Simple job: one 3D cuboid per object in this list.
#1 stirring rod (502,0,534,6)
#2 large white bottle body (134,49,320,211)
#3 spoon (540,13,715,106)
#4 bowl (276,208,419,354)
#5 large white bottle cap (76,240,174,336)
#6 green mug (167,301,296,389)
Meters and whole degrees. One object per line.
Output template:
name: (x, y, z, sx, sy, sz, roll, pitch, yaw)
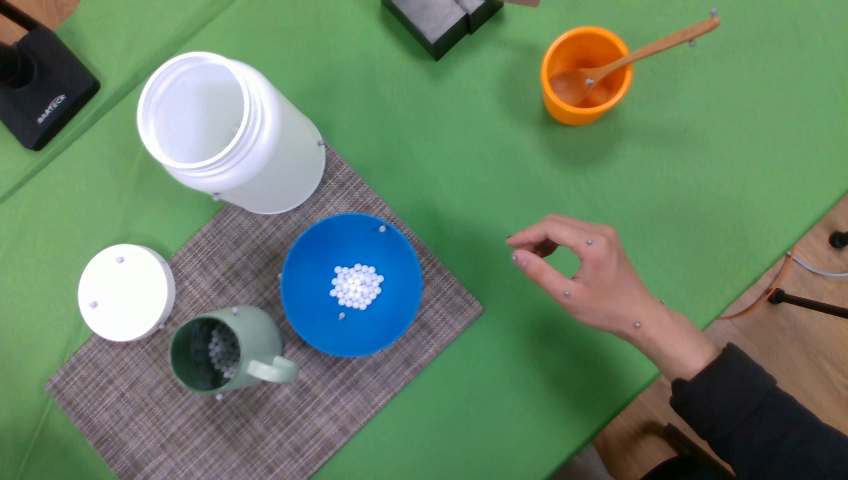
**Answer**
stirring rod: (0.032, -0.275, 0.652, 0.176, 0.006, 0.014, 13, 122, 6)
large white bottle body: (-0.196, -0.108, 0.626, 0.130, 0.185, 0.130, -1, 83, 8)
spoon: (0.197, -0.182, 0.614, 0.022, 0.193, 0.041, 1, 80, -38)
bowl: (-0.075, 0.044, 0.660, 0.151, 0.077, 0.151, 0, 87, 6)
large white bottle cap: (-0.355, 0.057, 0.717, 0.115, 0.018, 0.114, 0, 86, 6)
green mug: (-0.199, 0.119, 0.655, 0.125, 0.105, 0.092, 19, 88, 6)
